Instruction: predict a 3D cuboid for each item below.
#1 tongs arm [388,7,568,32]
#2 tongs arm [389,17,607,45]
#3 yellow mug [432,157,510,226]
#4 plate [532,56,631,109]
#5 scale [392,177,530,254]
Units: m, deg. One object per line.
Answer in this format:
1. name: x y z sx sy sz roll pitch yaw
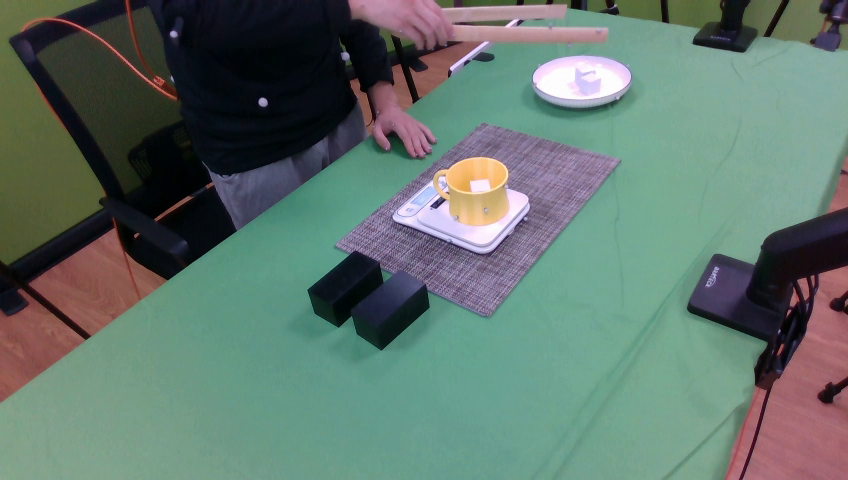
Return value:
1. tongs arm: 0.105 -0.392 1.065 0.390 0.028 0.028 -14 48 -28
2. tongs arm: 0.132 -0.350 1.015 0.387 0.026 0.050 -7 41 -20
3. yellow mug: 0.072 -0.082 0.968 0.130 0.064 0.100 13 45 24
4. plate: 0.336 -0.336 1.301 0.207 0.039 0.206 -4 41 4
5. scale: 0.060 -0.050 1.006 0.199 0.032 0.149 22 48 30
